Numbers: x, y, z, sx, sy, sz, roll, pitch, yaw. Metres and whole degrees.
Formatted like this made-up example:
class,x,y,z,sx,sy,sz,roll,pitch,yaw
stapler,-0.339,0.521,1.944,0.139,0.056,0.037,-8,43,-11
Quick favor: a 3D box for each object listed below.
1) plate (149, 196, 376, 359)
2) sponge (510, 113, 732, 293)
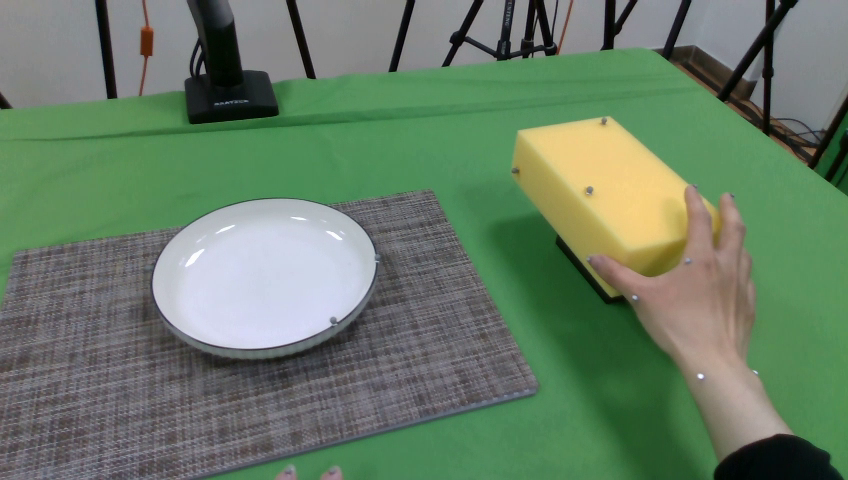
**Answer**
class,x,y,z,sx,sy,sz,roll,pitch,yaw
plate,-0.150,0.035,0.586,0.208,0.039,0.205,3,42,-2
sponge,0.189,-0.048,0.620,0.118,0.061,0.204,-12,44,-18
